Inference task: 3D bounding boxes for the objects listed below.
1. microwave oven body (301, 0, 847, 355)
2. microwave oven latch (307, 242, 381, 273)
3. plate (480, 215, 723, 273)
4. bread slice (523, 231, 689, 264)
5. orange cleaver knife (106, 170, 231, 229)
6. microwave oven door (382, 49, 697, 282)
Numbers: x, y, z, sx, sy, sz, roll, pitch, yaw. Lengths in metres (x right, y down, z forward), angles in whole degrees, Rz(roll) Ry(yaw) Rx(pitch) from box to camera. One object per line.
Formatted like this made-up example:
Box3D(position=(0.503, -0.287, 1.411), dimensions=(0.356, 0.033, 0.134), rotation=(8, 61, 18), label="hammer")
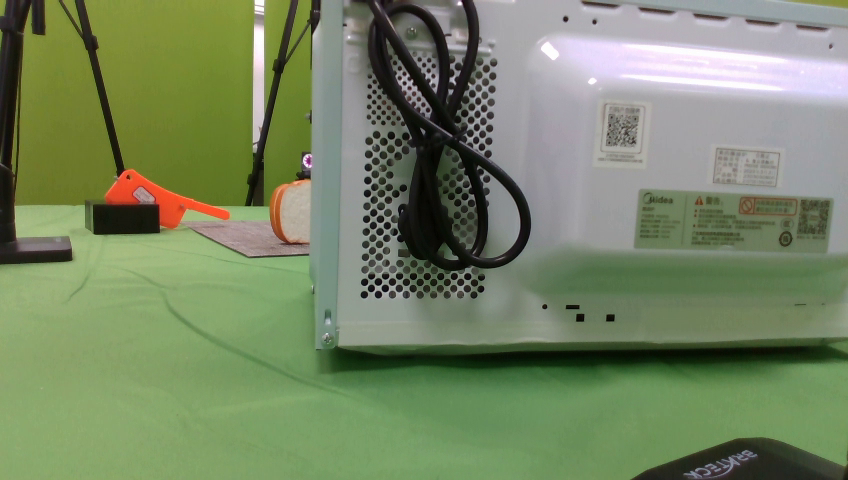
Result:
Box3D(position=(0.120, -0.053, 0.535), dimensions=(0.443, 0.260, 0.325), rotation=(2, 7, -11), label="microwave oven body")
Box3D(position=(-0.086, 0.019, 0.656), dimensions=(0.079, 0.029, 0.030), rotation=(2, 7, -10), label="microwave oven latch")
Box3D(position=(0.154, 0.001, 0.545), dimensions=(0.208, 0.039, 0.207), rotation=(-1, 5, 0), label="plate")
Box3D(position=(0.174, 0.006, 0.565), dimensions=(0.134, 0.018, 0.107), rotation=(-5, 3, 30), label="bread slice")
Box3D(position=(-0.458, -0.060, 1.097), dimensions=(0.212, 0.077, 0.012), rotation=(23, -4, -38), label="orange cleaver knife")
Box3D(position=(0.135, -0.077, 0.685), dimensions=(0.357, 0.243, 0.039), rotation=(1, 8, -12), label="microwave oven door")
